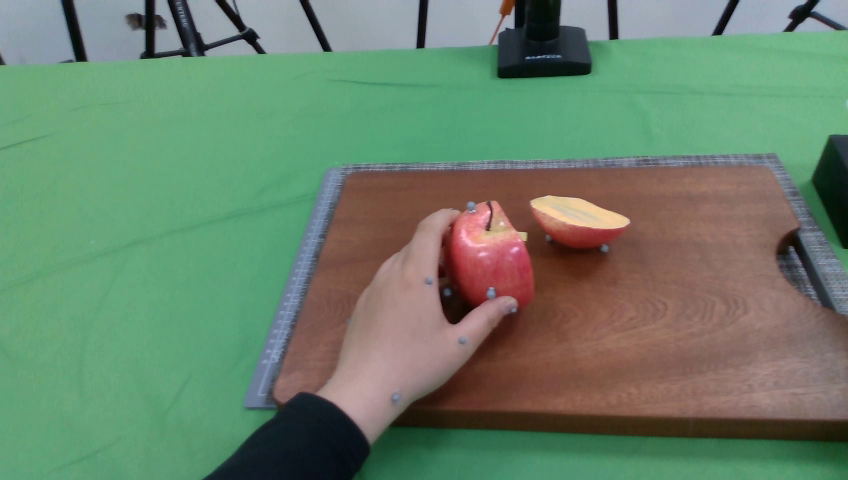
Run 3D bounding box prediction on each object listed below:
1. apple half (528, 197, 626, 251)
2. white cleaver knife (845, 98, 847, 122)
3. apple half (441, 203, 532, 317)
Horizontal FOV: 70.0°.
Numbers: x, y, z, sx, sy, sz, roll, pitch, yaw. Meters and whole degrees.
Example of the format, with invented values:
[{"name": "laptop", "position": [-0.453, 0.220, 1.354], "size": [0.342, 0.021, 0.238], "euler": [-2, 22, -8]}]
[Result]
[{"name": "apple half", "position": [0.117, -0.008, 0.490], "size": [0.081, 0.033, 0.080], "euler": [8, 22, -3]}, {"name": "white cleaver knife", "position": [0.331, -0.003, 0.381], "size": [0.021, 0.066, 0.284], "euler": [5, 57, -1]}, {"name": "apple half", "position": [0.040, 0.019, 0.445], "size": [0.053, 0.075, 0.080], "euler": [-19, 47, -7]}]
